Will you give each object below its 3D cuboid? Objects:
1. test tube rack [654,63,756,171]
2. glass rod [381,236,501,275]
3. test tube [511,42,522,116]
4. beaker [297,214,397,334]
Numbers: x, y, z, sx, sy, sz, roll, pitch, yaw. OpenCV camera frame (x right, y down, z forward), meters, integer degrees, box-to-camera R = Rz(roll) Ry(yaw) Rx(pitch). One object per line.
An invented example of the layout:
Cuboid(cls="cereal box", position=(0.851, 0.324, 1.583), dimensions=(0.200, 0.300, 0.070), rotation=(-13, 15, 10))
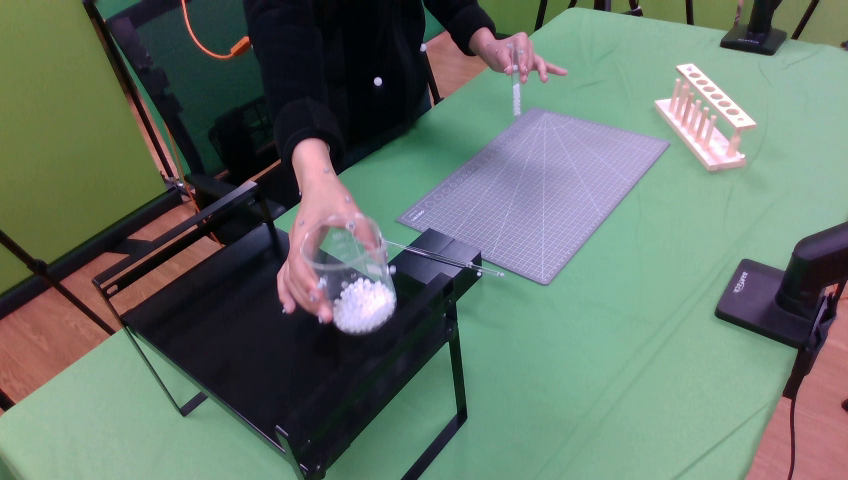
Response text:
Cuboid(cls="test tube rack", position=(0.510, -0.233, 1.120), dimensions=(0.067, 0.085, 0.241), rotation=(-8, 41, -1))
Cuboid(cls="glass rod", position=(0.020, 0.022, 0.881), dimensions=(0.198, 0.008, 0.008), rotation=(16, 46, 25))
Cuboid(cls="test tube", position=(0.158, -0.270, 1.029), dimensions=(0.017, 0.151, 0.017), rotation=(-5, 53, 7))
Cuboid(cls="beaker", position=(-0.067, 0.035, 0.582), dimensions=(0.083, 0.101, 0.074), rotation=(2, 45, 16))
